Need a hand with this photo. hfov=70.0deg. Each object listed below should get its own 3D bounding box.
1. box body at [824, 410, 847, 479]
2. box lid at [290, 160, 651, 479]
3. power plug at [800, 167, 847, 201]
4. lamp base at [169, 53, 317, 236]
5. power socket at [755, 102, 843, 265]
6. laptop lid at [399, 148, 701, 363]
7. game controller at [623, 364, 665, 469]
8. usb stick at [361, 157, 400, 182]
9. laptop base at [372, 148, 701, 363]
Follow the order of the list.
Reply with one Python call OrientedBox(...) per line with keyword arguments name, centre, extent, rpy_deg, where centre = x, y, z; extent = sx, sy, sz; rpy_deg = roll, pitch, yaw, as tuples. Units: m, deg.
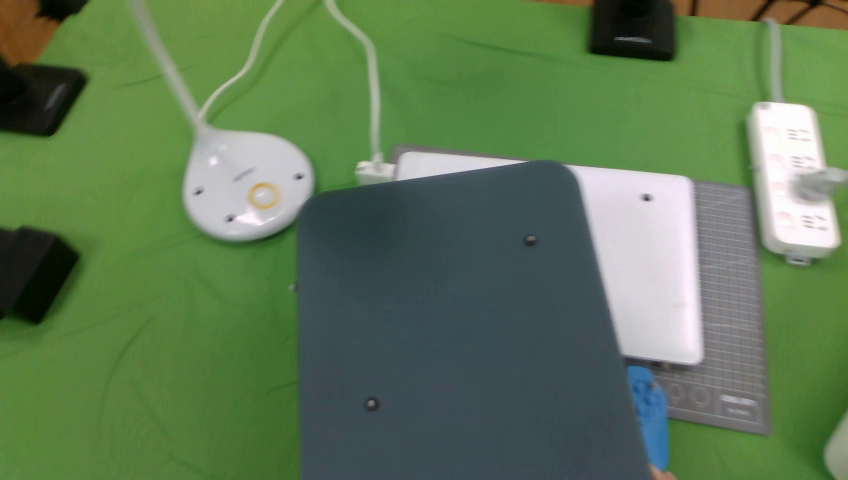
OrientedBox(name="box body", centre=(0.569, 0.138, 0.522), extent=(0.363, 0.162, 0.252), rpy_deg=(-42, 67, -18))
OrientedBox(name="box lid", centre=(0.026, 0.104, 0.492), extent=(0.263, 0.015, 0.368), rpy_deg=(-8, 66, 0))
OrientedBox(name="power plug", centre=(0.466, -0.056, 0.685), extent=(0.072, 0.053, 0.035), rpy_deg=(18, 63, 12))
OrientedBox(name="lamp base", centre=(-0.229, -0.119, 0.703), extent=(0.178, 0.182, 0.160), rpy_deg=(34, 68, 23))
OrientedBox(name="power socket", centre=(0.444, -0.076, 0.724), extent=(0.072, 0.033, 0.225), rpy_deg=(8, 61, 7))
OrientedBox(name="laptop lid", centre=(0.131, 0.005, 0.691), extent=(0.356, 0.013, 0.240), rpy_deg=(8, 64, 8))
OrientedBox(name="game controller", centre=(0.161, 0.164, 0.598), extent=(0.155, 0.052, 0.096), rpy_deg=(7, 60, 7))
OrientedBox(name="usb stick", centre=(-0.046, -0.084, 0.751), extent=(0.059, 0.027, 0.021), rpy_deg=(10, 57, 6))
OrientedBox(name="laptop base", centre=(0.132, 0.009, 0.702), extent=(0.354, 0.023, 0.234), rpy_deg=(7, 65, 7))
